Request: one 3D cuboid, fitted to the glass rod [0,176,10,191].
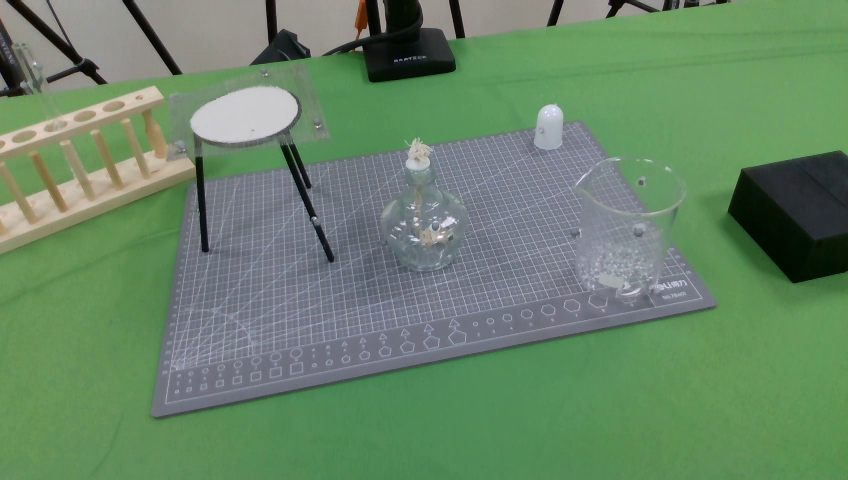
[{"bbox_3d":[-0.427,-0.105,0.561,0.008,0.201,0.008,-4,46,4],"label":"glass rod"}]

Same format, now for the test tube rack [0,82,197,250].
[{"bbox_3d":[-0.372,-0.073,0.619,0.242,0.086,0.066,-27,47,-23],"label":"test tube rack"}]

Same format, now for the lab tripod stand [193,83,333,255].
[{"bbox_3d":[-0.146,-0.060,0.547,0.148,0.133,0.147,-3,45,3],"label":"lab tripod stand"}]

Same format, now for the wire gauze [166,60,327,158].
[{"bbox_3d":[-0.151,-0.109,0.501,0.125,0.011,0.120,-14,44,-9],"label":"wire gauze"}]

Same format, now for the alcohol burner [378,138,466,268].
[{"bbox_3d":[-0.003,-0.034,0.521,0.078,0.120,0.077,-3,41,3],"label":"alcohol burner"}]

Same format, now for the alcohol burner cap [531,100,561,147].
[{"bbox_3d":[0.135,-0.130,0.666,0.034,0.048,0.033,-2,43,2],"label":"alcohol burner cap"}]

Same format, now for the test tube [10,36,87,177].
[{"bbox_3d":[-0.371,-0.127,0.604,0.017,0.151,0.017,-1,39,1],"label":"test tube"}]

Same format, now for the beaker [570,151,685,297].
[{"bbox_3d":[0.158,-0.010,0.491,0.084,0.101,0.073,5,43,11],"label":"beaker"}]
